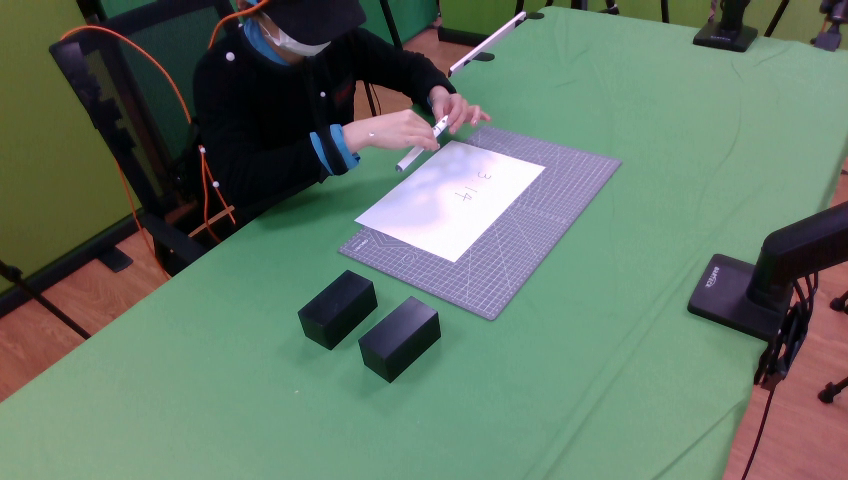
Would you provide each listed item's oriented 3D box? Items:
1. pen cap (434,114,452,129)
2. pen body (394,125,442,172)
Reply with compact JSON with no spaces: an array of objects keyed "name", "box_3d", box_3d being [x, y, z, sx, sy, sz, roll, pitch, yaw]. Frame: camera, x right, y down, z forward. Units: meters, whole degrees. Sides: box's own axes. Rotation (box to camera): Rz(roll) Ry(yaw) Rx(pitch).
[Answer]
[{"name":"pen cap","box_3d":[0.036,-0.215,1.110,0.017,0.017,0.038,26,62,33]},{"name":"pen body","box_3d":[-0.002,-0.171,1.086,0.017,0.017,0.144,27,63,33]}]
